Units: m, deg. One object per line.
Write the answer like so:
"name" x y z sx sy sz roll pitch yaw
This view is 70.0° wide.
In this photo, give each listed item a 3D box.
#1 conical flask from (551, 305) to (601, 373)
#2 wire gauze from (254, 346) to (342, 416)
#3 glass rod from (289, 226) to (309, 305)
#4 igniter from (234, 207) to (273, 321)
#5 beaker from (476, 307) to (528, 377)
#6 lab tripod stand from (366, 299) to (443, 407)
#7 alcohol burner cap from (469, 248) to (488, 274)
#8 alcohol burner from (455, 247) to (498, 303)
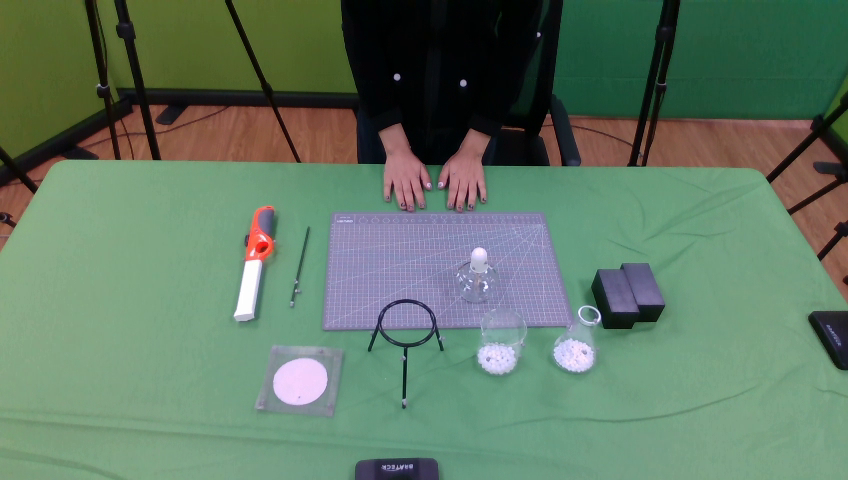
"conical flask" 0.257 0.158 0.998 0.075 0.122 0.075 2 46 -2
"wire gauze" -0.201 0.223 0.978 0.125 0.011 0.121 4 45 1
"glass rod" -0.235 0.043 1.150 0.008 0.008 0.198 3 46 -1
"igniter" -0.319 0.035 1.137 0.057 0.025 0.274 -7 46 3
"beaker" 0.122 0.171 0.991 0.084 0.101 0.073 -34 56 -31
"lab tripod stand" -0.028 0.165 0.961 0.148 0.132 0.147 2 44 -2
"alcohol burner cap" 0.095 0.034 1.057 0.034 0.048 0.033 -3 52 3
"alcohol burner" 0.095 0.057 1.085 0.078 0.120 0.077 1 47 -1
